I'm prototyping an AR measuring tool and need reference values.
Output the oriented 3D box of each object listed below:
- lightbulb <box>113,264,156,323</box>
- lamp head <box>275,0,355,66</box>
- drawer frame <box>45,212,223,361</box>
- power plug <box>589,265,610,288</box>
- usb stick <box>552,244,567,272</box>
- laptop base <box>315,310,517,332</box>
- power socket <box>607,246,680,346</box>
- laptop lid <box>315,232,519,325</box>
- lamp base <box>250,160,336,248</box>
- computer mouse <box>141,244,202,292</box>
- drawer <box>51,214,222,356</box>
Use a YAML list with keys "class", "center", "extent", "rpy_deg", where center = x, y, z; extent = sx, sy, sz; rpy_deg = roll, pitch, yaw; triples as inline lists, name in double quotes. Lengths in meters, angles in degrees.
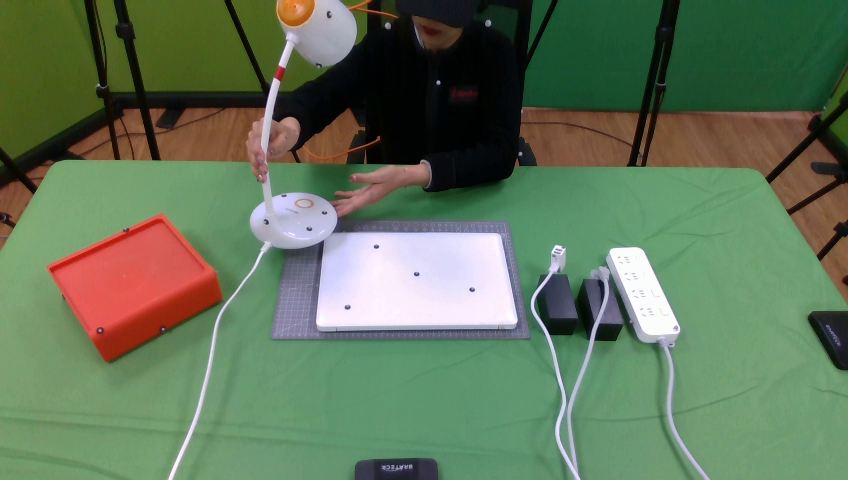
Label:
- class: "lightbulb"
  center: [-0.493, 0.091, 1.045]
  extent: [0.059, 0.060, 0.107]
  rpy_deg: [9, 62, 5]
- class: "lamp head"
  center: [-0.185, -0.348, 0.971]
  extent: [0.112, 0.112, 0.123]
  rpy_deg: [22, 7, 17]
- class: "drawer frame"
  center: [-0.496, 0.072, 1.049]
  extent: [0.213, 0.083, 0.200]
  rpy_deg: [-33, 56, -29]
- class: "power plug"
  center: [0.318, 0.073, 1.108]
  extent: [0.035, 0.053, 0.072]
  rpy_deg: [26, 34, 13]
- class: "usb stick"
  center: [0.251, 0.039, 1.123]
  extent: [0.021, 0.059, 0.027]
  rpy_deg: [14, 47, 24]
- class: "laptop base"
  center: [-0.016, 0.075, 1.125]
  extent: [0.355, 0.023, 0.234]
  rpy_deg: [0, 42, -4]
- class: "power socket"
  center: [0.403, 0.096, 1.123]
  extent: [0.072, 0.033, 0.225]
  rpy_deg: [-2, 46, -5]
- class: "laptop lid"
  center: [-0.015, 0.065, 1.118]
  extent: [0.357, 0.013, 0.240]
  rpy_deg: [1, 43, -3]
- class: "lamp base"
  center: [-0.247, -0.091, 1.083]
  extent: [0.160, 0.181, 0.178]
  rpy_deg: [14, 44, 12]
- class: "computer mouse"
  center: [-0.460, 0.044, 1.099]
  extent: [0.116, 0.041, 0.063]
  rpy_deg: [30, 52, 29]
- class: "drawer"
  center: [-0.495, 0.071, 1.053]
  extent: [0.212, 0.073, 0.193]
  rpy_deg: [-32, 57, -29]
